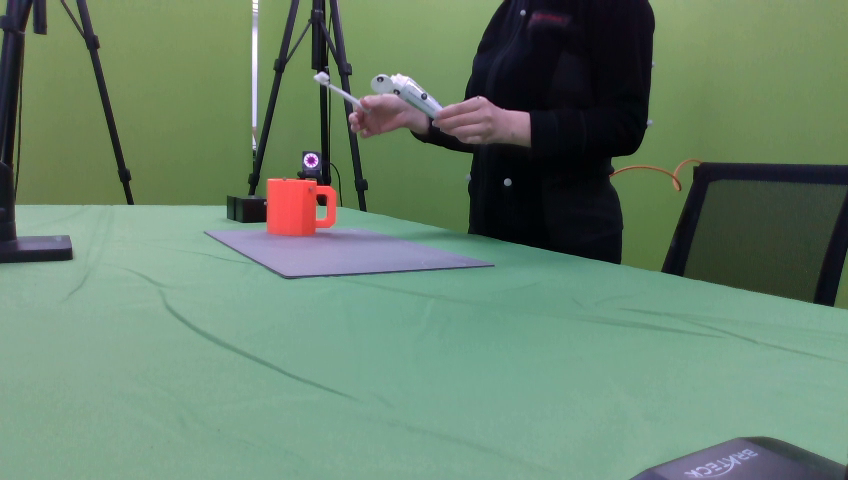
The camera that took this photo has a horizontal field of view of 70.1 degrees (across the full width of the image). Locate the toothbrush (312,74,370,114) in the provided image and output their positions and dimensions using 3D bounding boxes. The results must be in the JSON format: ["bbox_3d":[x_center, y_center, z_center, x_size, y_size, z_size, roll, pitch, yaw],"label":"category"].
[{"bbox_3d":[-0.143,-0.259,1.082,0.014,0.016,0.182,54,15,20],"label":"toothbrush"}]

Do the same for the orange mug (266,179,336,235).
[{"bbox_3d":[-0.222,-0.062,1.094,0.127,0.101,0.083,-5,10,-22],"label":"orange mug"}]

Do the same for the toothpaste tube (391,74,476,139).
[{"bbox_3d":[0.014,-0.212,0.969,0.166,0.034,0.055,31,20,-18],"label":"toothpaste tube"}]

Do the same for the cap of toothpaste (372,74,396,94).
[{"bbox_3d":[-0.061,-0.241,0.927,0.037,0.011,0.037,-6,-35,-4],"label":"cap of toothpaste"}]
